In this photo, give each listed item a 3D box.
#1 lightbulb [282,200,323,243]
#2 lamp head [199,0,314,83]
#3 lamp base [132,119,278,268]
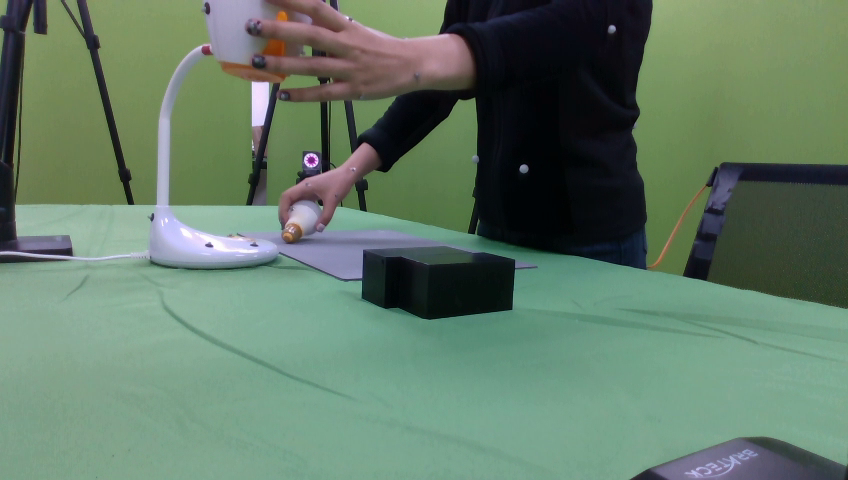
[{"bbox_3d":[-0.204,-0.027,0.990,0.059,0.059,0.107,3,28,10],"label":"lightbulb"},{"bbox_3d":[-0.162,-0.213,0.573,0.112,0.123,0.112,9,8,-1],"label":"lamp head"},{"bbox_3d":[-0.279,-0.061,0.770,0.160,0.180,0.180,9,13,43],"label":"lamp base"}]
